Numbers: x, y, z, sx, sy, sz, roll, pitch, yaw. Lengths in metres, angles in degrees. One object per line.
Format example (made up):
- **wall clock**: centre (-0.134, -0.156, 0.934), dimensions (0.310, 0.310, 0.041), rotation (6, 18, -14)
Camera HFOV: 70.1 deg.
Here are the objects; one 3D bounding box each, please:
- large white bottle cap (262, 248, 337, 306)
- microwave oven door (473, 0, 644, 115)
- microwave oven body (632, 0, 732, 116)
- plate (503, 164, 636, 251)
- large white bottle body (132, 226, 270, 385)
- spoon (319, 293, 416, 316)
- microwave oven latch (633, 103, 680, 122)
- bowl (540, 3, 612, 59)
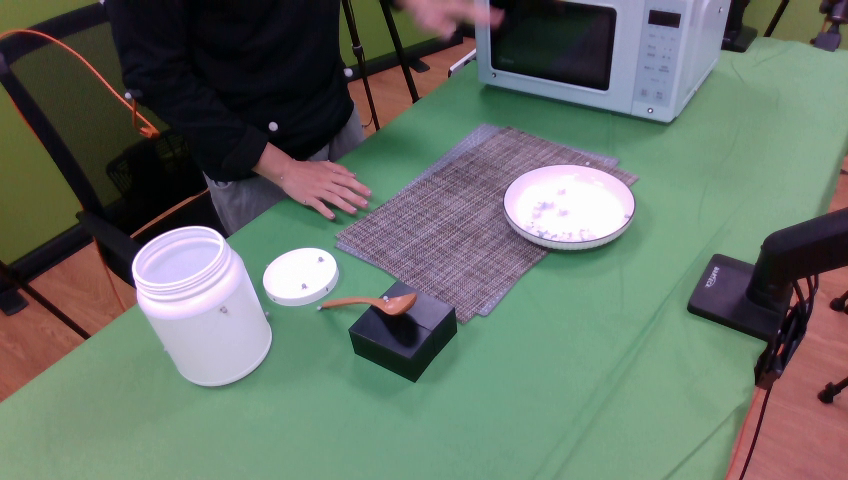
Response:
- **large white bottle cap**: centre (-0.193, 0.056, 0.934), dimensions (0.115, 0.018, 0.114), rotation (-4, 41, 4)
- **microwave oven door**: centre (0.257, -0.396, 1.199), dimensions (0.353, 0.245, 0.039), rotation (21, 48, 29)
- **microwave oven body**: centre (0.377, -0.462, 1.267), dimensions (0.438, 0.261, 0.327), rotation (21, 49, 30)
- **plate**: centre (0.231, -0.051, 0.976), dimensions (0.209, 0.038, 0.208), rotation (-3, 41, 3)
- **large white bottle body**: centre (-0.286, 0.085, 0.784), dimensions (0.130, 0.185, 0.130), rotation (-4, 41, 4)
- **spoon**: centre (-0.082, 0.086, 0.826), dimensions (0.192, 0.022, 0.041), rotation (-3, 37, 41)
- **microwave oven latch**: centre (0.443, -0.249, 1.157), dimensions (0.078, 0.029, 0.030), rotation (20, 48, 29)
- **bowl**: centre (0.323, -0.441, 1.298), dimensions (0.151, 0.077, 0.150), rotation (-4, 42, 4)
